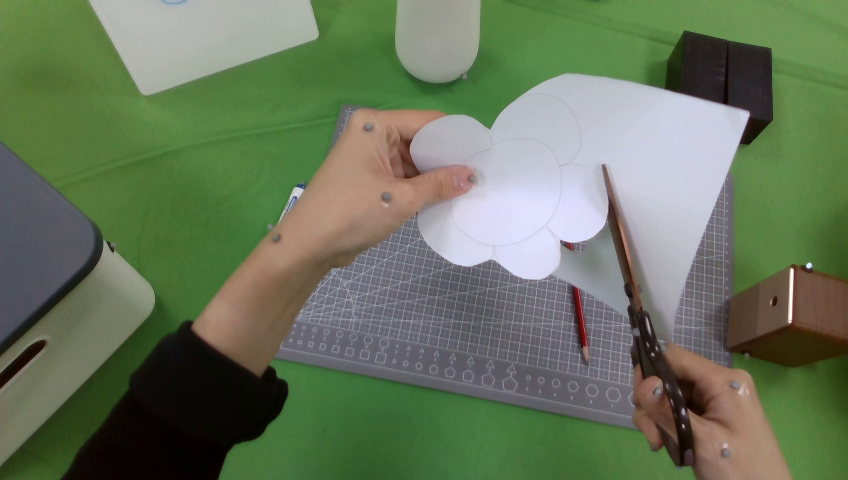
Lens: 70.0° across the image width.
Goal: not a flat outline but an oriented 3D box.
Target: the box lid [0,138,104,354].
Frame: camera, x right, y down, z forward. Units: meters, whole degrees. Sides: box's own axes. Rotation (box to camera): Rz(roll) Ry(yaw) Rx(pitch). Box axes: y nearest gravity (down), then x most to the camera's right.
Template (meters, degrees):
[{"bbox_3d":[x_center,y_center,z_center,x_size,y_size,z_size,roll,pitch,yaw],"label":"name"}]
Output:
[{"bbox_3d":[-0.461,-0.014,0.463,0.370,0.015,0.262,36,71,11],"label":"box lid"}]

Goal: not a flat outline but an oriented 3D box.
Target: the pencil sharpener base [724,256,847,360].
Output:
[{"bbox_3d":[0.345,0.068,0.568,0.077,0.107,0.061,15,68,1],"label":"pencil sharpener base"}]

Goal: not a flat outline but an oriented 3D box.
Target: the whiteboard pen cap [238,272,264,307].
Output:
[{"bbox_3d":[-0.171,0.049,0.604,0.018,0.018,0.033,16,65,5],"label":"whiteboard pen cap"}]

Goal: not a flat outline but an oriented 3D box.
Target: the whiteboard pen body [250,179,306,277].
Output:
[{"bbox_3d":[-0.155,-0.003,0.626,0.017,0.017,0.140,17,67,5],"label":"whiteboard pen body"}]

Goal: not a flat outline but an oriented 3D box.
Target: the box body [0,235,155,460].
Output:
[{"bbox_3d":[-0.461,0.015,0.532,0.362,0.161,0.253,36,72,11],"label":"box body"}]

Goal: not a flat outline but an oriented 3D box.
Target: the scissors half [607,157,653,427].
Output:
[{"bbox_3d":[0.125,0.035,0.365,0.013,0.040,0.176,-13,109,7],"label":"scissors half"}]

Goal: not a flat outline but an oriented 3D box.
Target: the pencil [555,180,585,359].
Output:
[{"bbox_3d":[0.152,0.027,0.629,0.012,0.012,0.192,-2,71,-3],"label":"pencil"}]

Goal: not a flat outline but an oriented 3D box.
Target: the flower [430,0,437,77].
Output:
[{"bbox_3d":[0.010,-0.308,0.566,0.044,0.365,0.038,4,51,3],"label":"flower"}]

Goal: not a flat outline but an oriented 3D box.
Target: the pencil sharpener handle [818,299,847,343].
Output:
[{"bbox_3d":[0.395,0.077,0.556,0.030,0.068,0.035,15,63,1],"label":"pencil sharpener handle"}]

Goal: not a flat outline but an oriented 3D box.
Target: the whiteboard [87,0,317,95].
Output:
[{"bbox_3d":[-0.271,-0.350,0.637,0.217,0.308,0.142,-22,51,-10],"label":"whiteboard"}]

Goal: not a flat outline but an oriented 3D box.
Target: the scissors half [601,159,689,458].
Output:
[{"bbox_3d":[0.124,0.038,0.344,0.013,0.040,0.174,-14,85,2],"label":"scissors half"}]

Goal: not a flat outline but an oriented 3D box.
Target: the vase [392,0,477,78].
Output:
[{"bbox_3d":[0.012,-0.264,0.638,0.098,0.201,0.097,0,67,0],"label":"vase"}]
